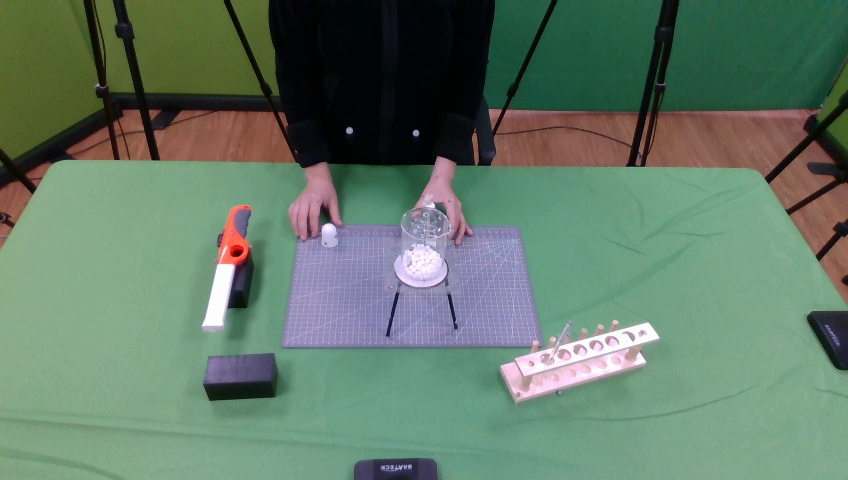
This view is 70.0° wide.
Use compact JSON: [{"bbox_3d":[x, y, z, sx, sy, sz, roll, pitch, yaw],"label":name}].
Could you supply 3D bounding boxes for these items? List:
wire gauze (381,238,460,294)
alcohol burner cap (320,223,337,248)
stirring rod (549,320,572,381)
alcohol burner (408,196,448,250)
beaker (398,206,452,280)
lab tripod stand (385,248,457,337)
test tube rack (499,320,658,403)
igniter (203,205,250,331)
[{"bbox_3d":[-0.008,0.042,0.985,0.125,0.011,0.120,-1,43,-2],"label":"wire gauze"},{"bbox_3d":[-0.188,-0.011,1.176,0.034,0.048,0.033,2,46,-2],"label":"alcohol burner cap"},{"bbox_3d":[0.202,0.168,0.901,0.006,0.177,0.014,-17,54,-11],"label":"stirring rod"},{"bbox_3d":[0.008,-0.036,1.167,0.078,0.120,0.077,1,46,-1],"label":"alcohol burner"},{"bbox_3d":[0.000,0.008,0.950,0.084,0.101,0.073,10,45,6],"label":"beaker"},{"bbox_3d":[-0.010,0.087,1.032,0.148,0.132,0.147,1,45,-1],"label":"lab tripod stand"},{"bbox_3d":[0.252,0.187,0.994,0.243,0.085,0.066,-12,48,-15],"label":"test tube rack"},{"bbox_3d":[-0.345,0.039,1.065,0.057,0.025,0.274,2,48,-6],"label":"igniter"}]
